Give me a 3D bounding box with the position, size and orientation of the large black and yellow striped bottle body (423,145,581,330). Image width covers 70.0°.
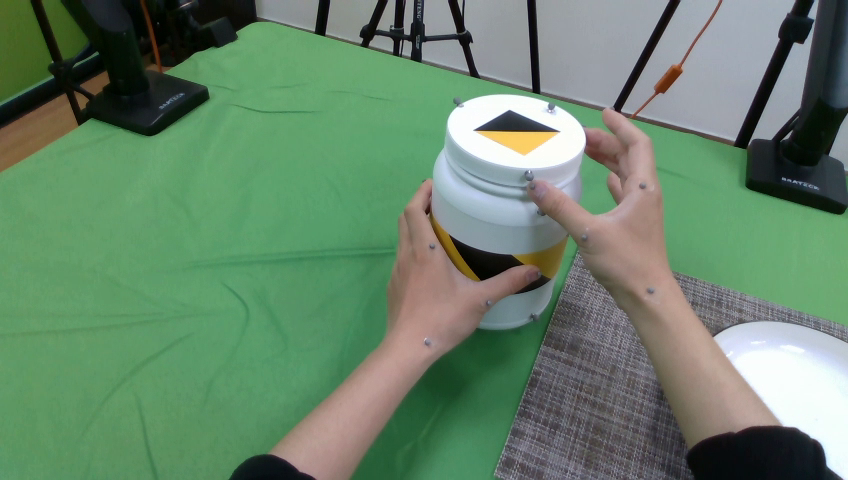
[{"bbox_3d":[0.069,-0.020,0.558,0.131,0.185,0.129,3,43,-2],"label":"large black and yellow striped bottle body"}]

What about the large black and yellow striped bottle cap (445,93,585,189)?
[{"bbox_3d":[0.075,-0.085,0.500,0.115,0.019,0.114,2,44,-2],"label":"large black and yellow striped bottle cap"}]

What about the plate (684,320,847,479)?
[{"bbox_3d":[0.315,0.156,0.494,0.208,0.039,0.205,3,43,-2],"label":"plate"}]
